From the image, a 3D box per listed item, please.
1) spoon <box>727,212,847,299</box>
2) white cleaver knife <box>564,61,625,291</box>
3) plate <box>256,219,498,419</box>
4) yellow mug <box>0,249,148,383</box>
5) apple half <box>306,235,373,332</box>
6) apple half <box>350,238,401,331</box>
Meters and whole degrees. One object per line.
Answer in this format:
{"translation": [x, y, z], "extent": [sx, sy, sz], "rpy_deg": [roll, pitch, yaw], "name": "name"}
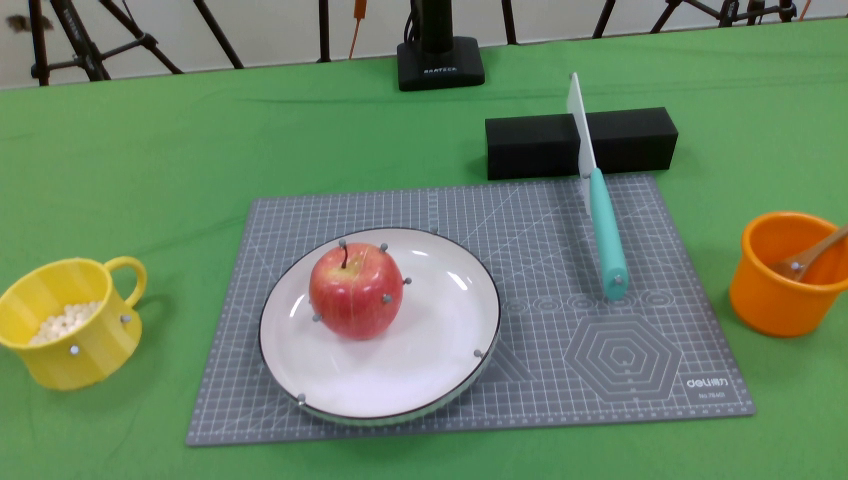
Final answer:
{"translation": [0.341, -0.010, 0.498], "extent": [0.022, 0.194, 0.041], "rpy_deg": [29, 34, -29], "name": "spoon"}
{"translation": [0.170, -0.073, 0.624], "extent": [0.021, 0.066, 0.283], "rpy_deg": [-3, 56, 5], "name": "white cleaver knife"}
{"translation": [-0.040, 0.065, 0.531], "extent": [0.209, 0.038, 0.207], "rpy_deg": [-2, 46, 3], "name": "plate"}
{"translation": [-0.306, 0.057, 0.546], "extent": [0.099, 0.064, 0.130], "rpy_deg": [23, 51, 25], "name": "yellow mug"}
{"translation": [-0.073, 0.037, 0.525], "extent": [0.053, 0.075, 0.080], "rpy_deg": [3, 49, 14], "name": "apple half"}
{"translation": [-0.035, 0.040, 0.517], "extent": [0.032, 0.082, 0.080], "rpy_deg": [2, 46, 14], "name": "apple half"}
